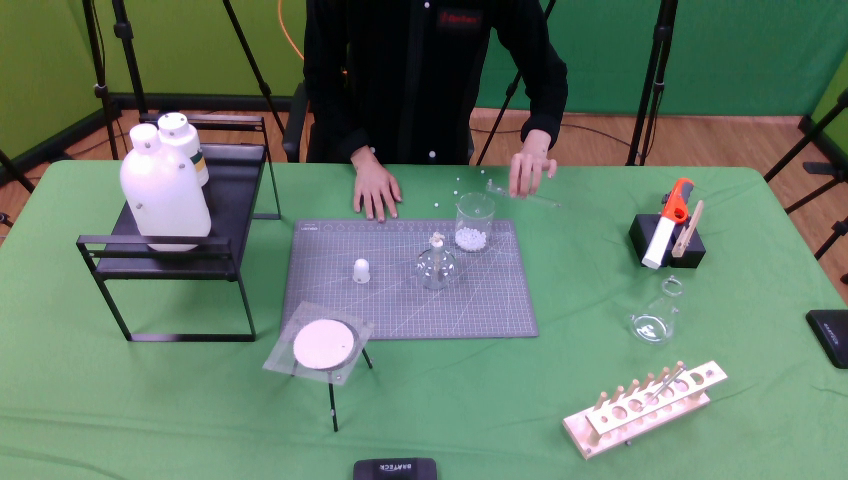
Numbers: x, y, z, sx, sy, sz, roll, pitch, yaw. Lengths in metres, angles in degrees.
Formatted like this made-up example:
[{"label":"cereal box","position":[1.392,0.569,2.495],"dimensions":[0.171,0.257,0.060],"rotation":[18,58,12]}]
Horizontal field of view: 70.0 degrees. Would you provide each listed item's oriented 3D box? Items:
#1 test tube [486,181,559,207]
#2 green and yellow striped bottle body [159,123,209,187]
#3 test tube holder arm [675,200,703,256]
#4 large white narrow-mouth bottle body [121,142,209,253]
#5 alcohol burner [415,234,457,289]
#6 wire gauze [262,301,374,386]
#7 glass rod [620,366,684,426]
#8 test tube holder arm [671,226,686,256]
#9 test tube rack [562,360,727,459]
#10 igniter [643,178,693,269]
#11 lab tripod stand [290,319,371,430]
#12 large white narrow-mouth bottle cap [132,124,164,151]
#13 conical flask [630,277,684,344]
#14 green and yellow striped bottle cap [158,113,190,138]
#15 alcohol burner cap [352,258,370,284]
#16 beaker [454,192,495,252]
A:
[{"label":"test tube","position":[0.181,-0.082,1.106],"dimensions":[0.151,0.017,0.017],"rotation":[13,43,-20]},{"label":"green and yellow striped bottle body","position":[-0.395,-0.145,0.989],"dimensions":[0.063,0.120,0.063],"rotation":[2,46,-2]},{"label":"test tube holder arm","position":[0.523,-0.025,1.190],"dimensions":[0.013,0.015,0.178],"rotation":[0,36,42]},{"label":"large white narrow-mouth bottle body","position":[-0.378,-0.077,0.875],"dimensions":[0.102,0.195,0.101],"rotation":[3,46,-3]},{"label":"alcohol burner","position":[0.022,0.033,1.100],"dimensions":[0.078,0.120,0.077],"rotation":[1,47,0]},{"label":"wire gauze","position":[-0.150,0.148,0.873],"dimensions":[0.121,0.011,0.124],"rotation":[14,46,12]},{"label":"glass rod","position":[0.322,0.227,0.866],"dimensions":[0.008,0.200,0.008],"rotation":[5,51,-7]},{"label":"test tube holder arm","position":[0.494,0.001,1.167],"dimensions":[0.010,0.015,0.087],"rotation":[1,36,42]},{"label":"test tube rack","position":[0.341,0.247,0.940],"dimensions":[0.243,0.085,0.066],"rotation":[-16,49,-18]},{"label":"igniter","position":[0.488,-0.042,1.205],"dimensions":[0.057,0.025,0.276],"rotation":[30,51,11]},{"label":"lab tripod stand","position":[-0.146,0.194,0.923],"dimensions":[0.148,0.132,0.147],"rotation":[1,47,-1]},{"label":"large white narrow-mouth bottle cap","position":[-0.370,-0.138,0.812],"dimensions":[0.038,0.024,0.037],"rotation":[3,46,-3]},{"label":"conical flask","position":[0.408,0.117,1.045],"dimensions":[0.075,0.122,0.075],"rotation":[2,46,-2]},{"label":"green and yellow striped bottle cap","position":[-0.393,-0.180,0.951],"dimensions":[0.045,0.020,0.045],"rotation":[2,44,-2]},{"label":"alcohol burner cap","position":[-0.117,0.055,1.118],"dimensions":[0.034,0.048,0.033],"rotation":[2,46,-2]},{"label":"beaker","position":[0.097,-0.034,1.180],"dimensions":[0.074,0.101,0.084],"rotation":[23,49,17]}]
